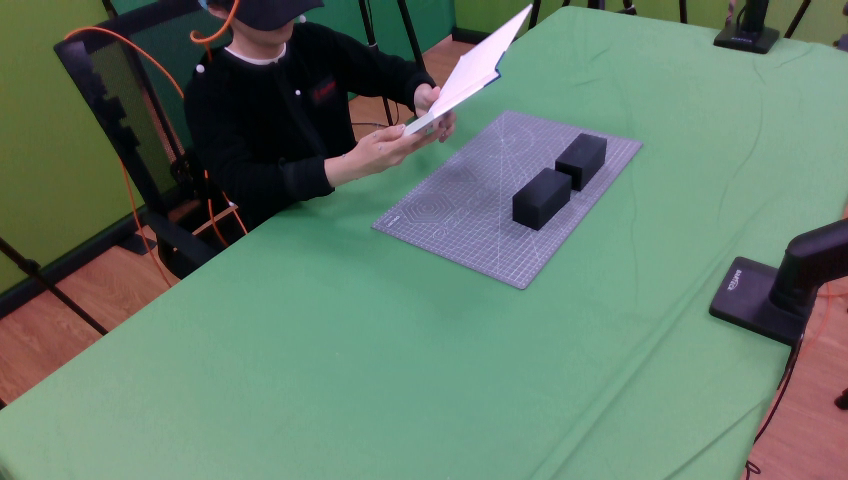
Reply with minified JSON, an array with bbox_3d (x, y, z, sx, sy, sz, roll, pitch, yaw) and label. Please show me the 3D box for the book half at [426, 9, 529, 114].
[{"bbox_3d":[0.086,-0.298,1.029,0.209,0.007,0.143,-18,38,60],"label":"book half"}]
